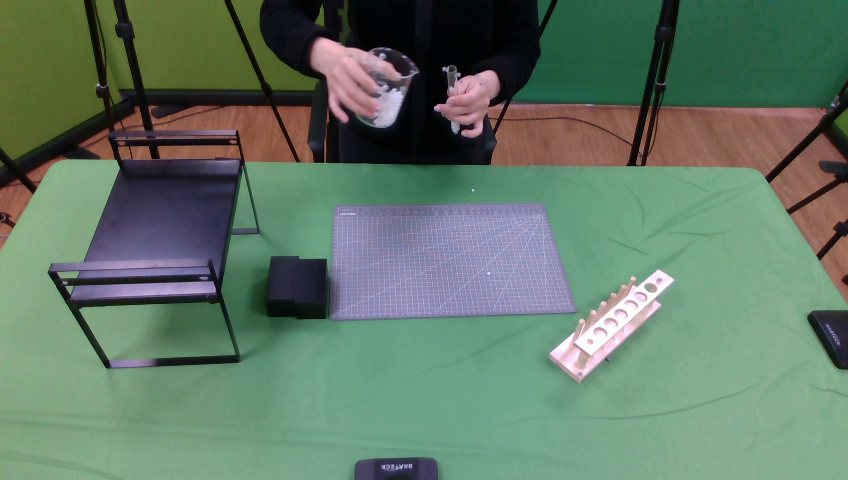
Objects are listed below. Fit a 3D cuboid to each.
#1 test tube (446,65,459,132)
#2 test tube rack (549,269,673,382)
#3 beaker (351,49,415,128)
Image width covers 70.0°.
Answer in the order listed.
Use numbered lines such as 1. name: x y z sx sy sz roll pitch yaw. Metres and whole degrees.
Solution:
1. test tube: 0.048 -0.227 0.990 0.017 0.151 0.017 -2 61 4
2. test tube rack: 0.325 0.134 1.047 0.242 0.085 0.066 -32 56 -30
3. beaker: -0.066 -0.230 0.931 0.084 0.100 0.073 3 49 -23
